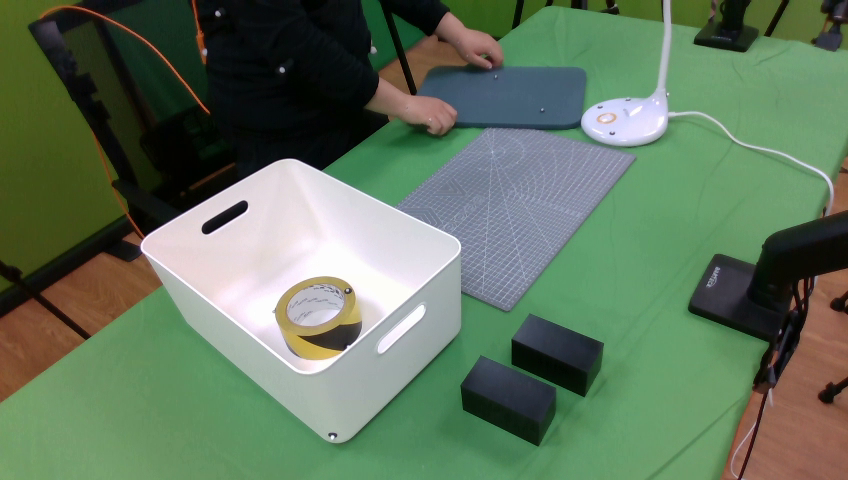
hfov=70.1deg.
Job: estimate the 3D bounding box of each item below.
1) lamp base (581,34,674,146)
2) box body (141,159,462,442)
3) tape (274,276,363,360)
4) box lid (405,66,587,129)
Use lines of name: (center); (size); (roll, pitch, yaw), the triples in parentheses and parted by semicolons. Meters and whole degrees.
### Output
lamp base: (0.392, -0.291, 1.129); (0.180, 0.181, 0.159); (-11, 41, -8)
box body: (-0.153, 0.063, 0.809); (0.361, 0.161, 0.255); (27, 51, 33)
tape: (-0.144, 0.106, 0.833); (0.117, 0.053, 0.116); (-4, 41, 4)
box lid: (0.163, -0.317, 1.321); (0.370, 0.015, 0.263); (5, 42, 14)
